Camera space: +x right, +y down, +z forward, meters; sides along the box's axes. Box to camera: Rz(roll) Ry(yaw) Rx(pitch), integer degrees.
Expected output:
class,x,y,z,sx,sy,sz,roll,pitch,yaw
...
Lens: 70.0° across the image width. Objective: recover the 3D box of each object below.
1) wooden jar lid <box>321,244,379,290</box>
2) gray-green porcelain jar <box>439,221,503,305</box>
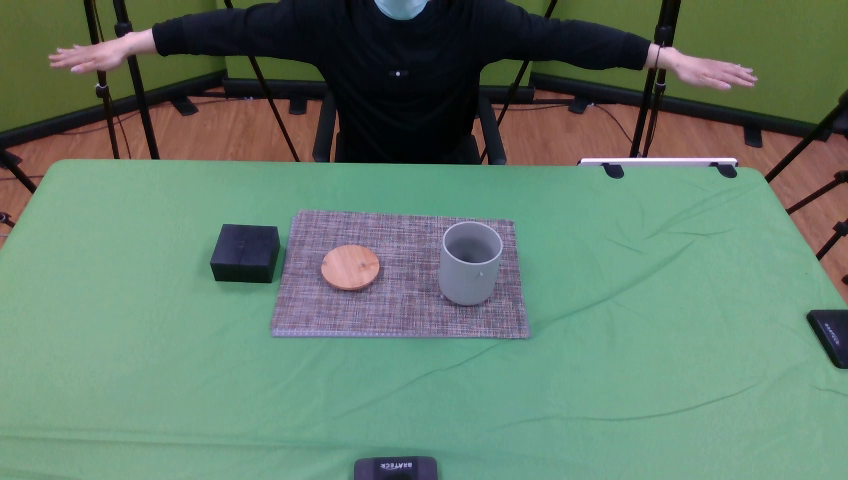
class,x,y,z,sx,sy,sz,roll,pitch,yaw
wooden jar lid,-0.137,0.054,1.131,0.108,0.021,0.107,1,45,-1
gray-green porcelain jar,0.080,0.046,1.078,0.106,0.127,0.105,2,46,-2
